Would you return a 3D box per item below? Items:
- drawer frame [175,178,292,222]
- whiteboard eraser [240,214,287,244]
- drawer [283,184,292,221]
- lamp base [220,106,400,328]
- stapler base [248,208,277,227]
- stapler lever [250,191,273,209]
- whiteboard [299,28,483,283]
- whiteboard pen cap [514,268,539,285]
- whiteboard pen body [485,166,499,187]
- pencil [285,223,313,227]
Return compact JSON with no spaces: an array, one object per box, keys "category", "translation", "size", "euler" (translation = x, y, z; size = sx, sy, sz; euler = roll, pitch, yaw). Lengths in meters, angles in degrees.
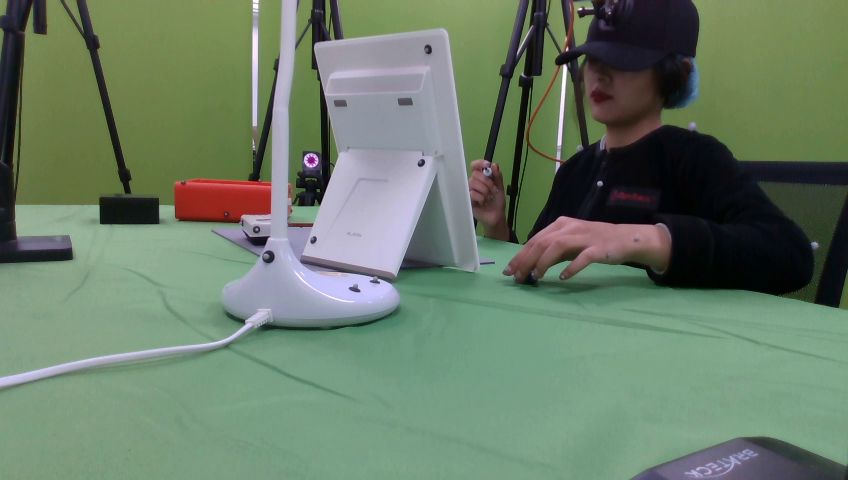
[{"category":"drawer frame","translation":[-0.402,-0.087,1.311],"size":[0.214,0.082,0.201],"euler":[1,8,-9]},{"category":"whiteboard eraser","translation":[-0.256,-0.018,0.958],"size":[0.056,0.042,0.112],"euler":[0,8,-25]},{"category":"drawer","translation":[-0.397,-0.087,1.314],"size":[0.212,0.073,0.194],"euler":[1,8,-9]},{"category":"lamp base","translation":[-0.101,-0.023,0.531],"size":[0.160,0.180,0.179],"euler":[4,10,10]},{"category":"stapler base","translation":[-0.350,-0.053,1.310],"size":[0.041,0.024,0.130],"euler":[1,13,-3]},{"category":"stapler lever","translation":[-0.351,-0.086,1.306],"size":[0.027,0.040,0.118],"euler":[1,5,-3]},{"category":"whiteboard","translation":[-0.075,-0.082,0.741],"size":[0.216,0.305,0.144],"euler":[9,30,38]},{"category":"whiteboard pen cap","translation":[0.123,0.043,0.728],"size":[0.018,0.018,0.033],"euler":[-1,9,-23]},{"category":"whiteboard pen body","translation":[0.127,-0.121,1.140],"size":[0.017,0.017,0.141],"euler":[4,-6,13]},{"category":"pencil","translation":[-0.234,-0.030,1.198],"size":[0.195,0.012,0.012],"euler":[0,8,-20]}]
